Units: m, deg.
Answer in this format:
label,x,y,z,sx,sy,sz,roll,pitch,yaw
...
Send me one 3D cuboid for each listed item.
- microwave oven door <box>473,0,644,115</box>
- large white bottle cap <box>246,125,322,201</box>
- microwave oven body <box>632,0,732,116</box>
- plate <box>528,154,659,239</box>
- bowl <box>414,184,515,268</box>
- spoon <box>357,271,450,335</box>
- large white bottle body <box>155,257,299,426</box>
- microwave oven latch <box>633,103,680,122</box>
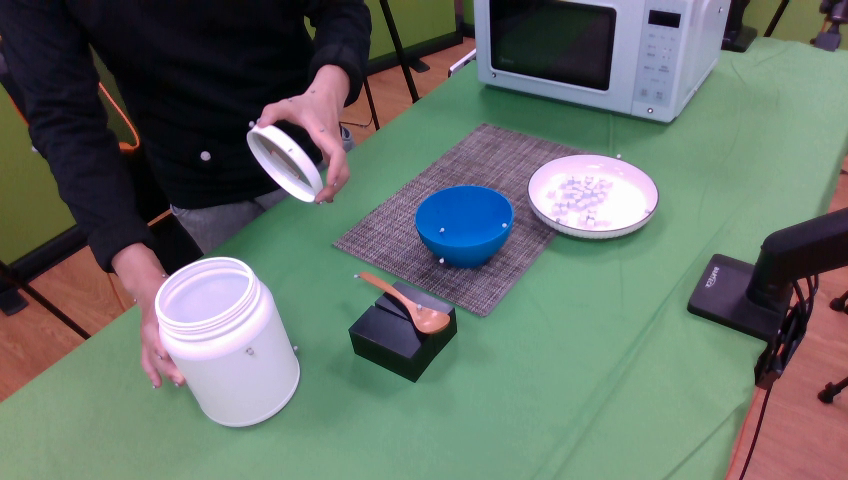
label,x,y,z,sx,sy,sz,roll,pitch,yaw
microwave oven door,0.257,-0.396,1.199,0.353,0.245,0.039,21,48,29
large white bottle cap,-0.179,-0.097,0.771,0.114,0.115,0.018,26,65,33
microwave oven body,0.377,-0.462,1.267,0.438,0.261,0.327,21,48,30
plate,0.274,-0.069,0.993,0.209,0.038,0.208,-2,42,2
bowl,0.063,-0.010,0.922,0.151,0.077,0.150,-4,40,4
spoon,-0.034,0.078,0.812,0.042,0.022,0.192,-37,43,-23
large white bottle body,-0.236,0.122,0.732,0.130,0.185,0.130,-4,40,4
microwave oven latch,0.444,-0.249,1.157,0.078,0.029,0.030,21,49,30
